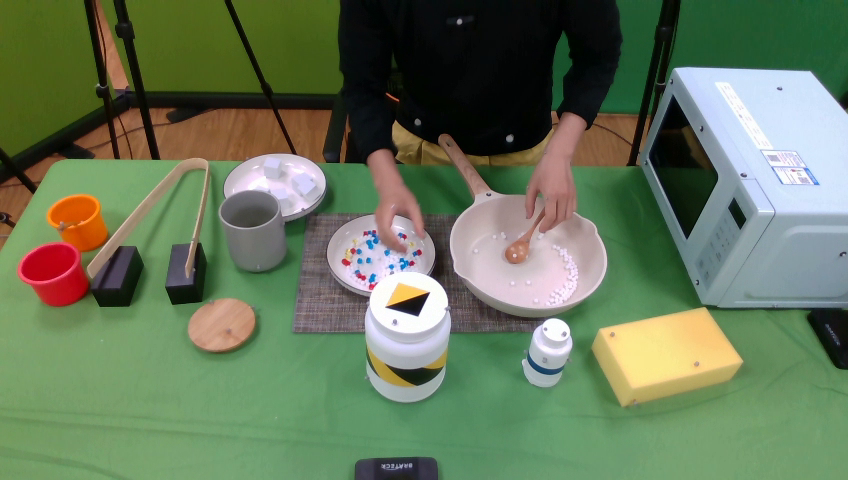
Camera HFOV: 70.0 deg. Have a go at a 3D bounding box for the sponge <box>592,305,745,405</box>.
[{"bbox_3d":[0.405,0.190,1.014,0.207,0.061,0.117,-10,48,-13],"label":"sponge"}]

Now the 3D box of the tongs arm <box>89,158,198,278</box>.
[{"bbox_3d":[-0.529,-0.058,1.164,0.028,0.028,0.385,1,36,8],"label":"tongs arm"}]

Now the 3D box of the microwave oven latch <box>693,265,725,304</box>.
[{"bbox_3d":[0.523,0.081,1.116,0.030,0.029,0.078,2,46,-1],"label":"microwave oven latch"}]

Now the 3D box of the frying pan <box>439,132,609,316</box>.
[{"bbox_3d":[0.149,-0.049,1.190,0.307,0.103,0.484,-17,58,-20],"label":"frying pan"}]

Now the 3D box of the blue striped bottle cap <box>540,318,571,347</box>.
[{"bbox_3d":[0.203,0.142,0.933,0.044,0.021,0.044,3,49,-3],"label":"blue striped bottle cap"}]

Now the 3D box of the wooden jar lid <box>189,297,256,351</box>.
[{"bbox_3d":[-0.342,0.145,1.033,0.108,0.021,0.107,3,45,-2],"label":"wooden jar lid"}]

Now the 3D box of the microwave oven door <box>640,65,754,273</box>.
[{"bbox_3d":[0.524,-0.148,1.193,0.039,0.245,0.353,0,47,-3],"label":"microwave oven door"}]

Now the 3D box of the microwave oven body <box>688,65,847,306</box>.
[{"bbox_3d":[0.669,-0.111,1.176,0.326,0.261,0.439,0,46,-3],"label":"microwave oven body"}]

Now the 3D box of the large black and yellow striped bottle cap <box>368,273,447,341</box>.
[{"bbox_3d":[-0.023,0.094,0.875,0.115,0.019,0.114,2,45,-2],"label":"large black and yellow striped bottle cap"}]

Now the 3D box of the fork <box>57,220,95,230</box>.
[{"bbox_3d":[-0.624,-0.027,1.086,0.028,0.207,0.018,-3,92,-17],"label":"fork"}]

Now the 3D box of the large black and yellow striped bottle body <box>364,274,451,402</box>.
[{"bbox_3d":[-0.026,0.151,0.937,0.131,0.185,0.130,2,47,-2],"label":"large black and yellow striped bottle body"}]

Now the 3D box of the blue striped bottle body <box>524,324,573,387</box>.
[{"bbox_3d":[0.200,0.178,0.970,0.063,0.121,0.062,2,46,-2],"label":"blue striped bottle body"}]

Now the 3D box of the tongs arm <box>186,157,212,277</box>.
[{"bbox_3d":[-0.445,-0.058,1.168,0.051,0.026,0.382,-5,37,-6],"label":"tongs arm"}]

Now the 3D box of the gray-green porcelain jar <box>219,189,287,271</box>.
[{"bbox_3d":[-0.310,-0.014,1.113,0.106,0.127,0.105,2,46,-2],"label":"gray-green porcelain jar"}]

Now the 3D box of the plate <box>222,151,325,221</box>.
[{"bbox_3d":[-0.310,-0.106,1.263,0.208,0.039,0.206,2,47,-2],"label":"plate"}]

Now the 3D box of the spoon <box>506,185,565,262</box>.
[{"bbox_3d":[0.224,-0.034,1.189,0.041,0.022,0.193,30,79,29],"label":"spoon"}]

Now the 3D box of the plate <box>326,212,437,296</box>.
[{"bbox_3d":[-0.080,0.030,1.143,0.209,0.038,0.208,3,46,-2],"label":"plate"}]
